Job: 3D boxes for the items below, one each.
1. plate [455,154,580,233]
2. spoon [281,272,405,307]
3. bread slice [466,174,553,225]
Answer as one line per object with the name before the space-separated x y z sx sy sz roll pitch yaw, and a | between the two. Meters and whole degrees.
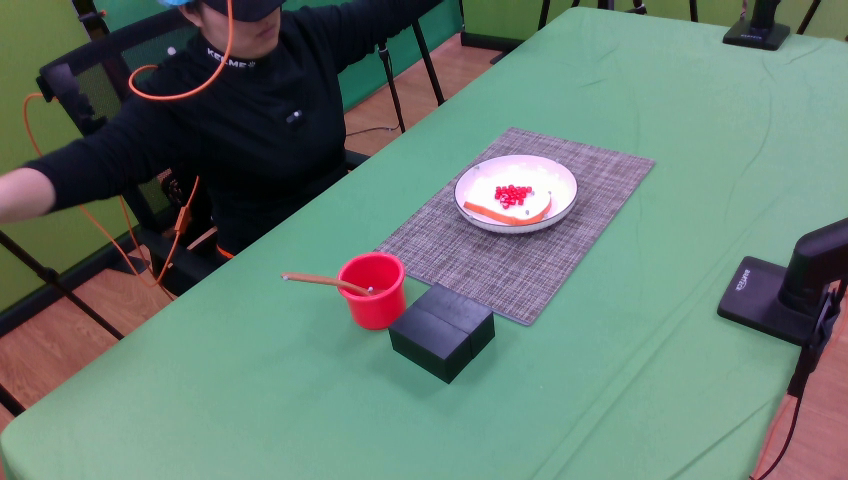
plate | 0.158 -0.076 1.028 0.209 0.038 0.208 -5 40 5
spoon | -0.108 0.065 0.836 0.195 0.021 0.041 20 22 -37
bread slice | 0.152 -0.067 1.022 0.130 0.019 0.105 23 50 33
